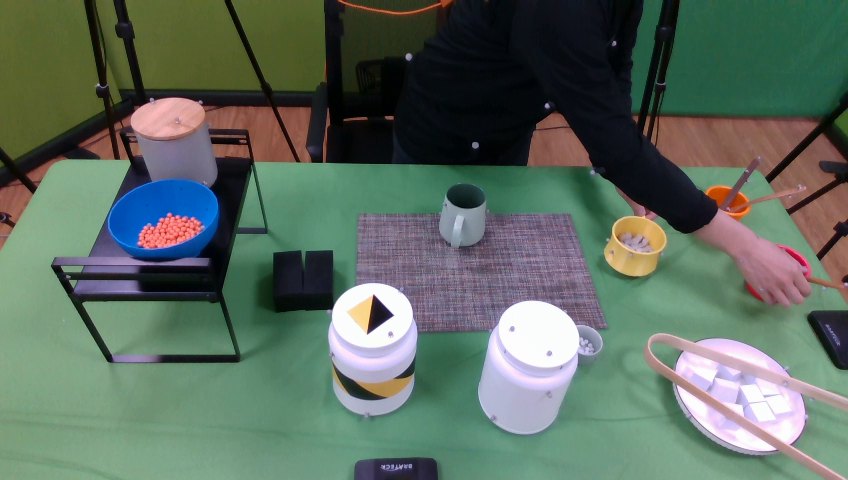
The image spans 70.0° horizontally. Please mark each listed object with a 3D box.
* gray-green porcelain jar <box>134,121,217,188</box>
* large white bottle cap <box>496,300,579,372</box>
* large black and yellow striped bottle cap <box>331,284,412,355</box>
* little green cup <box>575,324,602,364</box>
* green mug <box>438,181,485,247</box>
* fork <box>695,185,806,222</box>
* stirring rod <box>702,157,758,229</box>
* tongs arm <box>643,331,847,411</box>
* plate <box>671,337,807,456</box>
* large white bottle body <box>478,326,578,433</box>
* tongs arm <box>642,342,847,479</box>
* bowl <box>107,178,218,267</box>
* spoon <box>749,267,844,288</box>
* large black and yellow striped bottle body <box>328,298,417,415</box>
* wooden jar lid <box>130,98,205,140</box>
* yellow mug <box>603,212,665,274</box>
[{"bbox_3d":[-0.397,-0.141,0.980,0.106,0.127,0.105,2,47,-2],"label":"gray-green porcelain jar"},{"bbox_3d":[0.160,0.133,0.852,0.115,0.018,0.114,3,46,-3],"label":"large white bottle cap"},{"bbox_3d":[-0.073,0.110,0.858,0.115,0.019,0.114,2,46,-2],"label":"large black and yellow striped bottle cap"},{"bbox_3d":[0.269,0.179,1.036,0.061,0.039,0.061,3,46,-2],"label":"little green cup"},{"bbox_3d":[0.071,-0.039,1.177,0.092,0.105,0.124,12,47,7],"label":"green mug"},{"bbox_3d":[0.658,-0.074,1.229,0.207,0.019,0.028,-23,35,37],"label":"fork"},{"bbox_3d":[0.634,-0.097,1.257,0.014,0.006,0.176,38,97,30],"label":"stirring rod"},{"bbox_3d":[0.546,0.227,0.968,0.384,0.026,0.050,22,52,13],"label":"tongs arm"},{"bbox_3d":[0.503,0.254,0.984,0.208,0.039,0.206,2,46,-2],"label":"plate"},{"bbox_3d":[0.156,0.192,0.913,0.131,0.185,0.130,2,46,-2],"label":"large white bottle body"},{"bbox_3d":[0.504,0.278,0.918,0.386,0.028,0.028,34,59,22],"label":"tongs arm"},{"bbox_3d":[-0.374,-0.014,0.893,0.151,0.077,0.150,2,46,-2],"label":"bowl"},{"bbox_3d":[0.671,0.067,1.100,0.042,0.021,0.193,-12,4,-13],"label":"spoon"},{"bbox_3d":[-0.078,0.167,0.920,0.131,0.185,0.130,2,46,-2],"label":"large black and yellow striped bottle body"},{"bbox_3d":[-0.393,-0.183,0.934,0.108,0.021,0.107,2,44,-2],"label":"wooden jar lid"},{"bbox_3d":[0.406,-0.004,1.170,0.100,0.064,0.130,17,49,13],"label":"yellow mug"}]
